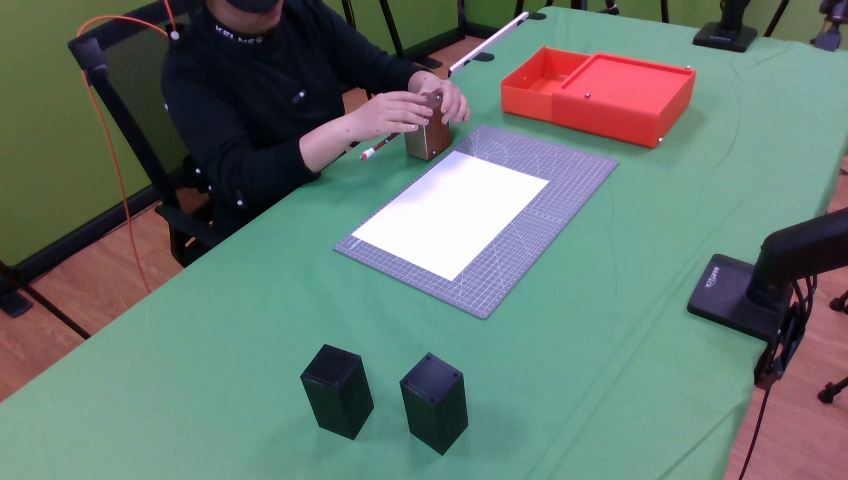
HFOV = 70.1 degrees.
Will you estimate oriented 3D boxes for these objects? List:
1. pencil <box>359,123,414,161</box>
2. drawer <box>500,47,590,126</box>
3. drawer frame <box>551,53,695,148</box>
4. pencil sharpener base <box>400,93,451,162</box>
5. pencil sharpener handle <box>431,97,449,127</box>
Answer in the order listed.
[{"bbox_3d":[-0.049,-0.190,1.100,0.012,0.012,0.194,23,47,32],"label":"pencil"},{"bbox_3d":[0.295,-0.316,1.255,0.210,0.073,0.195,22,47,29],"label":"drawer"},{"bbox_3d":[0.390,-0.281,1.196,0.212,0.083,0.202,22,48,29],"label":"drawer frame"},{"bbox_3d":[0.006,-0.216,1.159,0.061,0.107,0.077,24,49,33],"label":"pencil sharpener base"},{"bbox_3d":[0.036,-0.254,1.181,0.035,0.068,0.031,30,52,27],"label":"pencil sharpener handle"}]
